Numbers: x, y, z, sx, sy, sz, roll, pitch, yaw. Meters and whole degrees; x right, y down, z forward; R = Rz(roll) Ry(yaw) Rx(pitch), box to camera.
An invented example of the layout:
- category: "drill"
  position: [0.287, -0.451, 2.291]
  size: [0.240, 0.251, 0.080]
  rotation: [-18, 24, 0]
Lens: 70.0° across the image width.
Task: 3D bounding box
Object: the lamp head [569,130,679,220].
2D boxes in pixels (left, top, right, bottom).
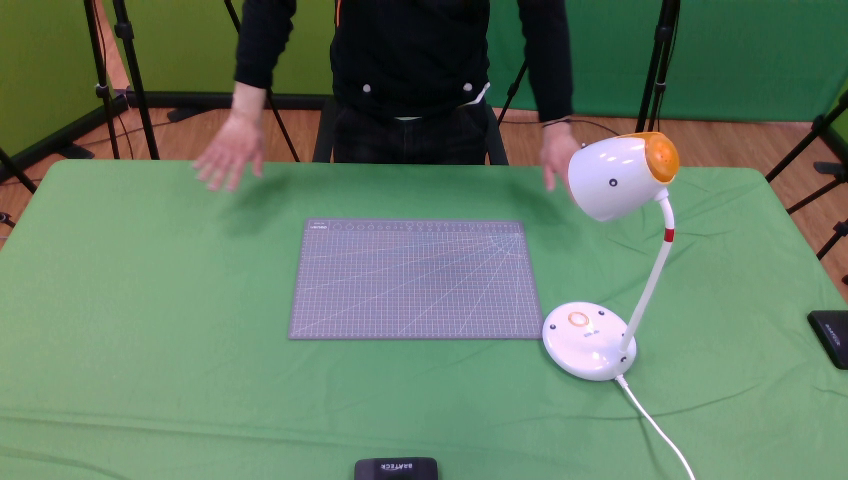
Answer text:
- category: "lamp head"
  position: [0.272, -0.090, 0.798]
  size: [0.113, 0.122, 0.112]
  rotation: [7, 78, -33]

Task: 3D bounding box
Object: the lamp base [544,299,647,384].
- category: "lamp base"
  position: [0.299, 0.124, 0.984]
  size: [0.161, 0.181, 0.178]
  rotation: [-23, 55, -23]
